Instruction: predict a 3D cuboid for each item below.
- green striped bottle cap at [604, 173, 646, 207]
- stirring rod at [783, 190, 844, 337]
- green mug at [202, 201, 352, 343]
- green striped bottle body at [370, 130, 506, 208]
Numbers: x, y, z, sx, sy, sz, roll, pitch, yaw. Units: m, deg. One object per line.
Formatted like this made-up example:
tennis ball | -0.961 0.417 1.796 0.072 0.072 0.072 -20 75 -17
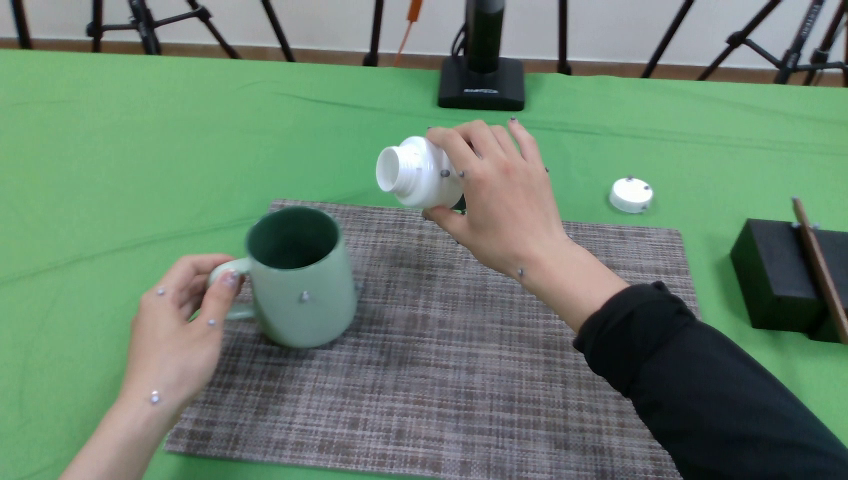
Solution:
green striped bottle cap | 0.228 -0.057 0.689 0.044 0.020 0.044 1 42 -1
stirring rod | 0.353 0.015 0.552 0.006 0.014 0.174 4 46 9
green mug | -0.128 0.034 0.529 0.125 0.106 0.091 -15 48 -15
green striped bottle body | 0.012 -0.063 0.546 0.120 0.063 0.062 2 39 -38
